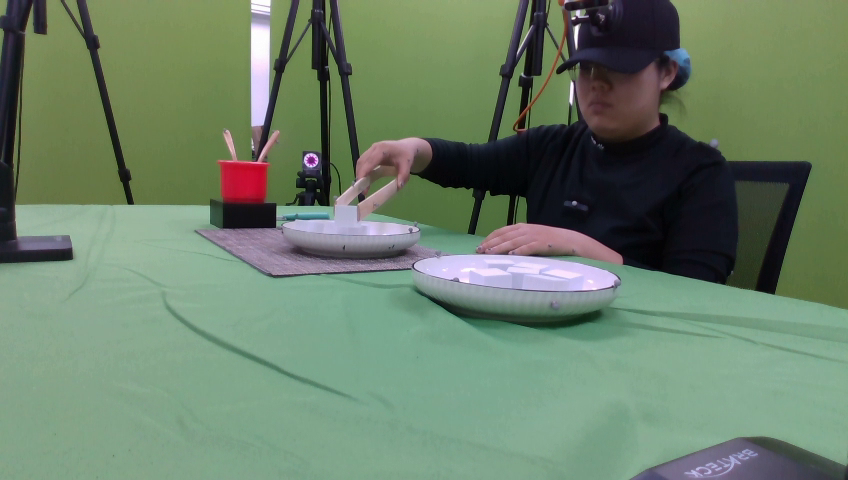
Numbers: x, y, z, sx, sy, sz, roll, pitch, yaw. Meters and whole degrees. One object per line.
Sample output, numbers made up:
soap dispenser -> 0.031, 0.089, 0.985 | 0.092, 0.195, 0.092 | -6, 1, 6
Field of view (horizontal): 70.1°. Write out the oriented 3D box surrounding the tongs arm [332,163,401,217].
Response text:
tongs arm -> -0.087, -0.093, 1.035 | 0.051, 0.026, 0.384 | 4, 16, 4

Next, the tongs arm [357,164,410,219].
tongs arm -> -0.064, -0.090, 1.032 | 0.028, 0.028, 0.388 | 2, 15, 9

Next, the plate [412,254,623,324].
plate -> 0.091, 0.047, 0.609 | 0.209, 0.038, 0.209 | 2, 7, 0

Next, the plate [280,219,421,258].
plate -> -0.108, -0.002, 0.902 | 0.208, 0.039, 0.207 | 3, 7, 0

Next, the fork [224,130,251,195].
fork -> -0.372, -0.155, 1.193 | 0.028, 0.018, 0.206 | -17, 54, -13

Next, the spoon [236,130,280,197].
spoon -> -0.321, -0.154, 1.192 | 0.041, 0.193, 0.022 | 0, -37, 19

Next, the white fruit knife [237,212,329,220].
white fruit knife -> -0.304, -0.050, 1.328 | 0.208, 0.016, 0.027 | -3, -19, -29
